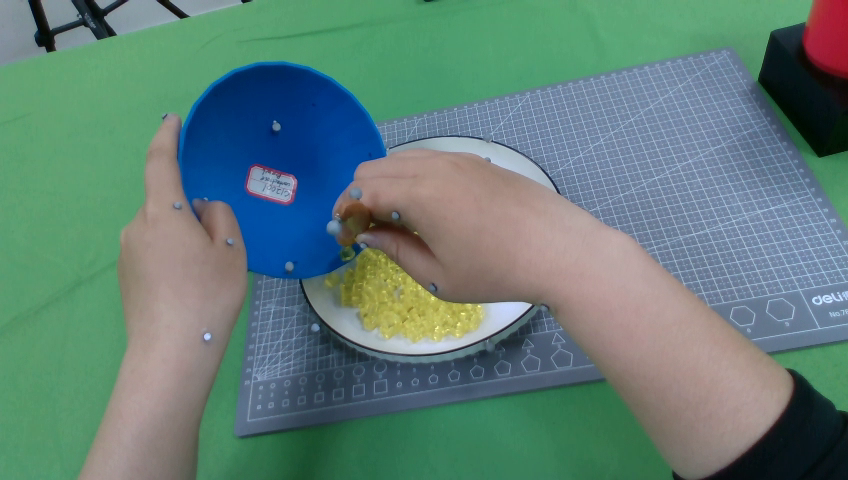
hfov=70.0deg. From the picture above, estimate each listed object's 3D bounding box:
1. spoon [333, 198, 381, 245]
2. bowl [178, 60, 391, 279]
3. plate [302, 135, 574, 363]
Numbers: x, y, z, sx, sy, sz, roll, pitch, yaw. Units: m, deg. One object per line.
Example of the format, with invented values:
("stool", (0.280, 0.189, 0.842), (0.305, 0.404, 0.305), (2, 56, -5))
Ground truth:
("spoon", (-0.038, -0.012, 0.351), (0.041, 0.193, 0.022), (-43, 95, -4))
("bowl", (-0.108, -0.046, 0.446), (0.151, 0.152, 0.076), (-53, 24, -24))
("plate", (0.010, 0.004, 0.469), (0.207, 0.039, 0.205), (-7, 53, 9))
